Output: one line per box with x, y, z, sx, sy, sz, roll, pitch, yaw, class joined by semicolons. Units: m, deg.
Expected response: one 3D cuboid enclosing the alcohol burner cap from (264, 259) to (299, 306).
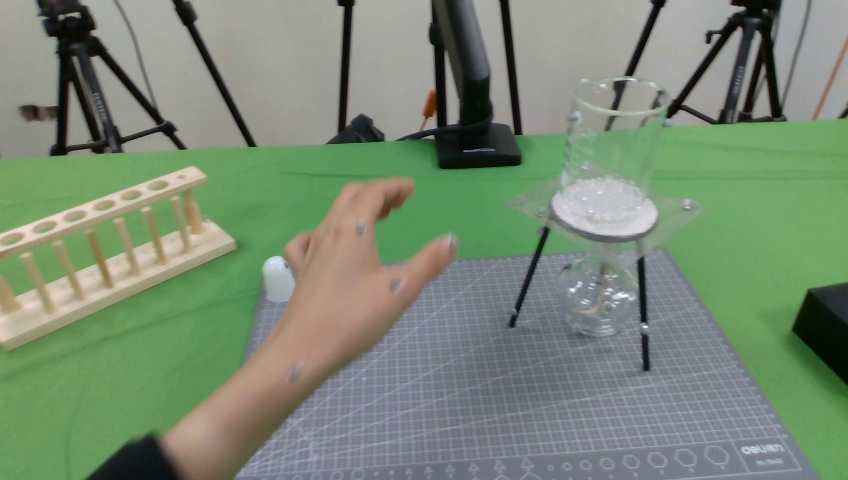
-0.148;0.041;0.623;0.034;0.048;0.033;0;35;1;alcohol burner cap

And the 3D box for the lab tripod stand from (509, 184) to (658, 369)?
0.157;0.029;0.549;0.148;0.132;0.147;1;35;0;lab tripod stand

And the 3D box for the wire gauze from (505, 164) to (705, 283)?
0.151;-0.024;0.511;0.121;0.011;0.124;-27;46;-30;wire gauze

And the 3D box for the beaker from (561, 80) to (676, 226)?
0.150;-0.070;0.491;0.074;0.101;0.083;-7;36;-9;beaker

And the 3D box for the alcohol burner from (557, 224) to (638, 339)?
0.164;0.033;0.560;0.078;0.120;0.077;0;37;1;alcohol burner

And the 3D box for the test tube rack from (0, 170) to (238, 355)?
-0.328;0.014;0.635;0.242;0.086;0.066;-28;43;-33;test tube rack
